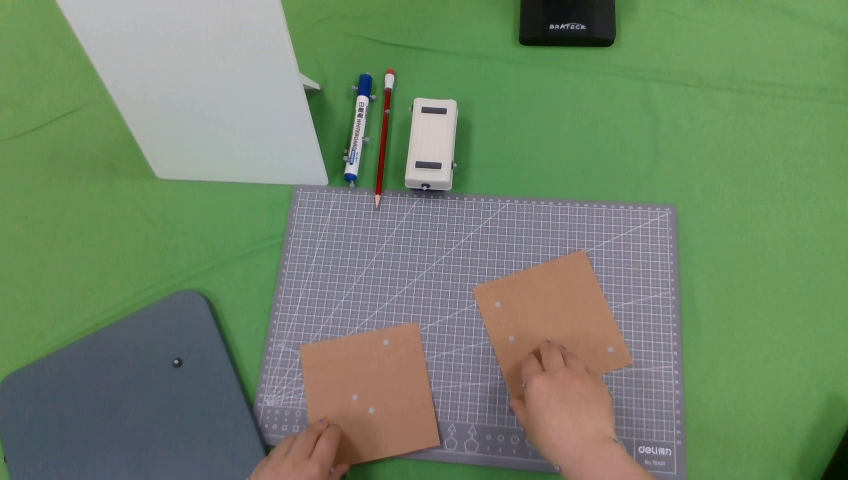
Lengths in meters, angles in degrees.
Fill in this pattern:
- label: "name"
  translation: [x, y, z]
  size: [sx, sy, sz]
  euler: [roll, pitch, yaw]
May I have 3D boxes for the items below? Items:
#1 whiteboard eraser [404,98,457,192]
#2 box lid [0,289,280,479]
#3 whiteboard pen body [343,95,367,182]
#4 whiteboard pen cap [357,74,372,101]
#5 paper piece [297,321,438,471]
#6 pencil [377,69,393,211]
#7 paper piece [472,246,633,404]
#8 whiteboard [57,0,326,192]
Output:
- label: "whiteboard eraser"
  translation: [0.008, -0.113, 0.721]
  size: [0.055, 0.042, 0.112]
  euler: [3, 72, 7]
- label: "box lid"
  translation: [-0.294, 0.254, 0.635]
  size: [0.263, 0.015, 0.369]
  euler: [-26, 72, -5]
- label: "whiteboard pen body"
  translation: [-0.083, -0.137, 0.748]
  size: [0.017, 0.017, 0.140]
  euler: [4, 71, 6]
- label: "whiteboard pen cap"
  translation: [-0.076, -0.192, 0.765]
  size: [0.018, 0.018, 0.033]
  euler: [3, 71, 6]
- label: "paper piece"
  translation: [-0.062, 0.164, 0.647]
  size: [0.135, 0.004, 0.134]
  euler: [-11, 70, 1]
- label: "pencil"
  translation: [-0.049, -0.126, 0.745]
  size: [0.012, 0.012, 0.193]
  euler: [1, 72, 5]
- label: "paper piece"
  translation: [0.136, 0.091, 0.658]
  size: [0.136, 0.009, 0.137]
  euler: [-19, 74, 3]
- label: "whiteboard"
  translation: [-0.224, -0.213, 0.664]
  size: [0.217, 0.308, 0.142]
  euler: [4, 52, 6]
